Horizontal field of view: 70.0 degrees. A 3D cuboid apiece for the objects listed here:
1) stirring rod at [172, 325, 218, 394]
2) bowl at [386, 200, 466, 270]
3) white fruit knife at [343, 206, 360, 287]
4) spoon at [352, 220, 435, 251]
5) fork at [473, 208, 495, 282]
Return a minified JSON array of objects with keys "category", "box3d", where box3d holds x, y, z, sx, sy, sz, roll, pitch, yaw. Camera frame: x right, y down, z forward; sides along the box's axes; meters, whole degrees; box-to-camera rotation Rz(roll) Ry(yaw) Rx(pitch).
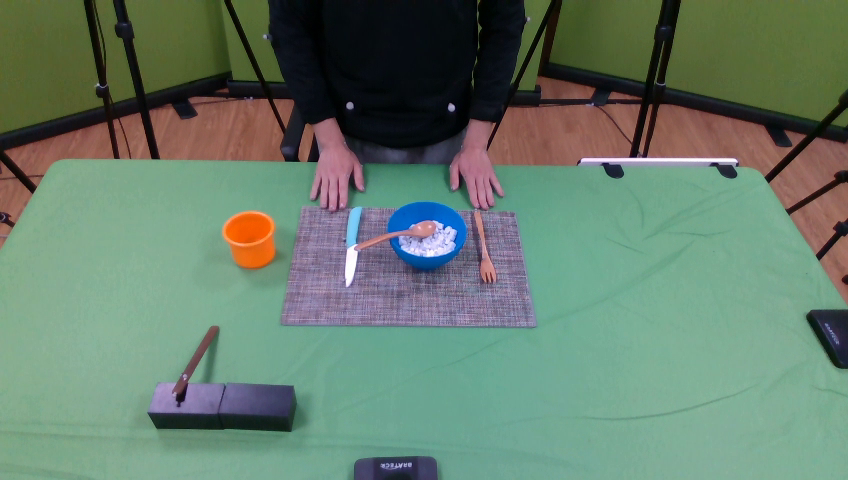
[{"category":"stirring rod","box3d":[-0.360,0.185,0.962,0.014,0.006,0.175,0,26,1]},{"category":"bowl","box3d":[0.002,0.003,1.150,0.151,0.077,0.150,2,46,-2]},{"category":"white fruit knife","box3d":[-0.143,0.010,1.175,0.027,0.016,0.206,-6,47,5]},{"category":"spoon","box3d":[-0.054,-0.008,1.109,0.194,0.022,0.041,-14,40,-42]},{"category":"fork","box3d":[0.115,0.007,1.196,0.028,0.019,0.206,-8,48,2]}]
